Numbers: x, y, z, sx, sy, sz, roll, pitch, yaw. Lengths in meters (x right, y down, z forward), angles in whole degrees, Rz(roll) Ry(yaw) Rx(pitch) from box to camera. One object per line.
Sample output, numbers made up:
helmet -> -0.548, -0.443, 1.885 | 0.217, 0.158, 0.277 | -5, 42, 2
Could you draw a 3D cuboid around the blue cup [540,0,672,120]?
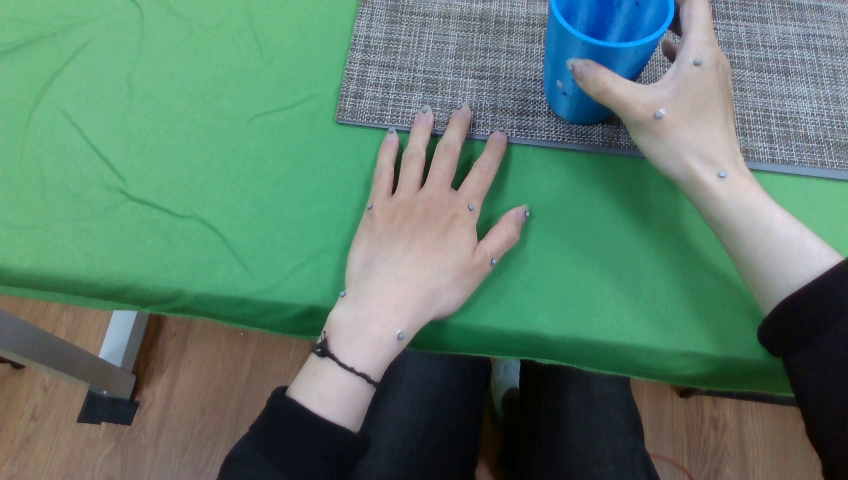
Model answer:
blue cup -> 0.126, -0.144, 0.456 | 0.092, 0.101, 0.092 | -1, 65, 2
